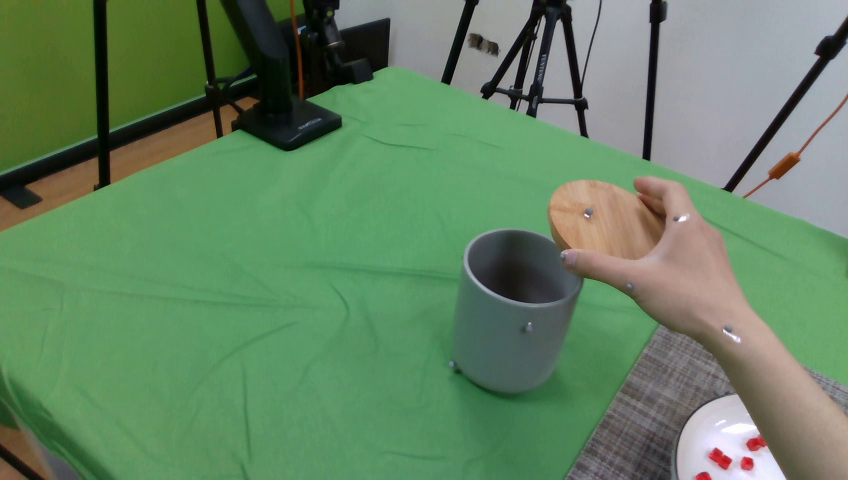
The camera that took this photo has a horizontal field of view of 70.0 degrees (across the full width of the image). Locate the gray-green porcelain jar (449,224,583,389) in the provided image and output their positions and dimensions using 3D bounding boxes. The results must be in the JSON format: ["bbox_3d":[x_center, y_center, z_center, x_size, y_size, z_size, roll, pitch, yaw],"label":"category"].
[{"bbox_3d":[0.079,0.066,0.559,0.106,0.127,0.105,4,39,-3],"label":"gray-green porcelain jar"}]

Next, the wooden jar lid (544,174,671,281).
[{"bbox_3d":[0.147,-0.009,0.494,0.109,0.021,0.107,9,51,-11],"label":"wooden jar lid"}]

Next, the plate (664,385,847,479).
[{"bbox_3d":[0.292,0.210,0.478,0.208,0.039,0.205,5,39,-3],"label":"plate"}]
